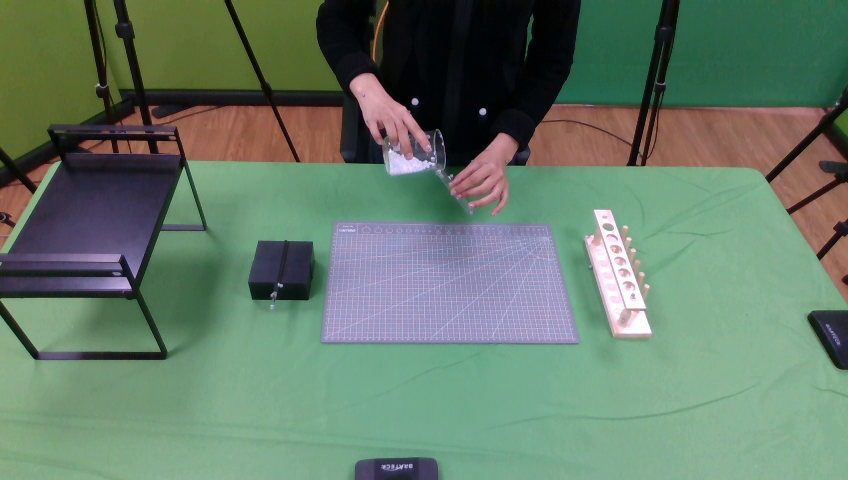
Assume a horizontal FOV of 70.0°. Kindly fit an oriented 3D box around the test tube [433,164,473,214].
[{"bbox_3d":[0.058,-0.095,1.154,0.017,0.151,0.017,-17,51,23],"label":"test tube"}]

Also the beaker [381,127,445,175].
[{"bbox_3d":[-0.020,-0.152,1.064,0.100,0.084,0.073,-8,51,-11],"label":"beaker"}]

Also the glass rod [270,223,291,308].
[{"bbox_3d":[-0.255,0.041,1.081,0.008,0.008,0.198,2,46,-2],"label":"glass rod"}]

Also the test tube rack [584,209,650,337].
[{"bbox_3d":[0.365,0.056,1.129,0.067,0.085,0.240,1,46,-4],"label":"test tube rack"}]
